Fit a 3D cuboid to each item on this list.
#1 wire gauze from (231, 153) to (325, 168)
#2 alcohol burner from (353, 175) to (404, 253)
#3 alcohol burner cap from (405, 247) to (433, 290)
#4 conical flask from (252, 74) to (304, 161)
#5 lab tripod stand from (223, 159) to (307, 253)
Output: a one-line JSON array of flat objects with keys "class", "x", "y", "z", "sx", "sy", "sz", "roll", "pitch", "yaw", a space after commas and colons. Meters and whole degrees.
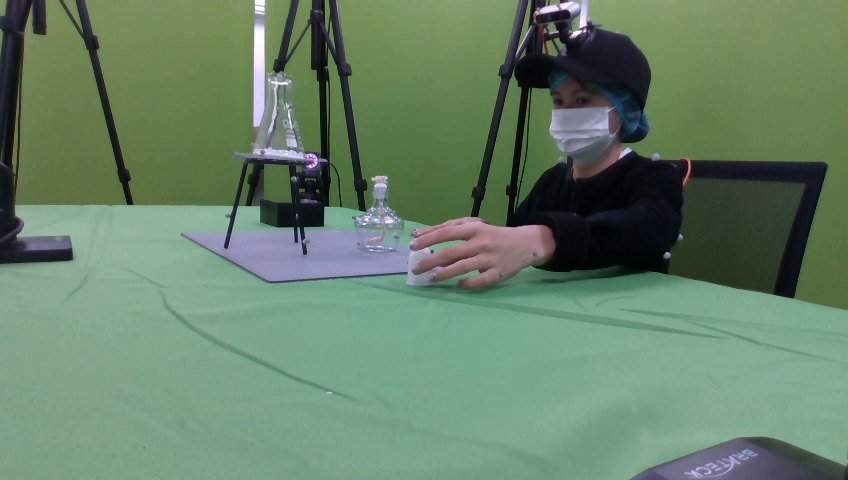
[{"class": "wire gauze", "x": -0.215, "y": -0.117, "z": 0.882, "sx": 0.125, "sy": 0.011, "sz": 0.121, "roll": 3, "pitch": 7, "yaw": -19}, {"class": "alcohol burner", "x": -0.069, "y": -0.040, "z": 0.926, "sx": 0.078, "sy": 0.119, "sz": 0.078, "roll": 1, "pitch": 9, "yaw": 0}, {"class": "alcohol burner cap", "x": -0.005, "y": 0.031, "z": 0.698, "sx": 0.034, "sy": 0.048, "sz": 0.034, "roll": 3, "pitch": 10, "yaw": 0}, {"class": "conical flask", "x": -0.211, "y": -0.177, "z": 0.879, "sx": 0.075, "sy": 0.122, "sz": 0.075, "roll": 3, "pitch": 6, "yaw": 0}, {"class": "lab tripod stand", "x": -0.220, "y": -0.053, "z": 0.896, "sx": 0.148, "sy": 0.131, "sz": 0.148, "roll": 1, "pitch": 6, "yaw": 0}]
